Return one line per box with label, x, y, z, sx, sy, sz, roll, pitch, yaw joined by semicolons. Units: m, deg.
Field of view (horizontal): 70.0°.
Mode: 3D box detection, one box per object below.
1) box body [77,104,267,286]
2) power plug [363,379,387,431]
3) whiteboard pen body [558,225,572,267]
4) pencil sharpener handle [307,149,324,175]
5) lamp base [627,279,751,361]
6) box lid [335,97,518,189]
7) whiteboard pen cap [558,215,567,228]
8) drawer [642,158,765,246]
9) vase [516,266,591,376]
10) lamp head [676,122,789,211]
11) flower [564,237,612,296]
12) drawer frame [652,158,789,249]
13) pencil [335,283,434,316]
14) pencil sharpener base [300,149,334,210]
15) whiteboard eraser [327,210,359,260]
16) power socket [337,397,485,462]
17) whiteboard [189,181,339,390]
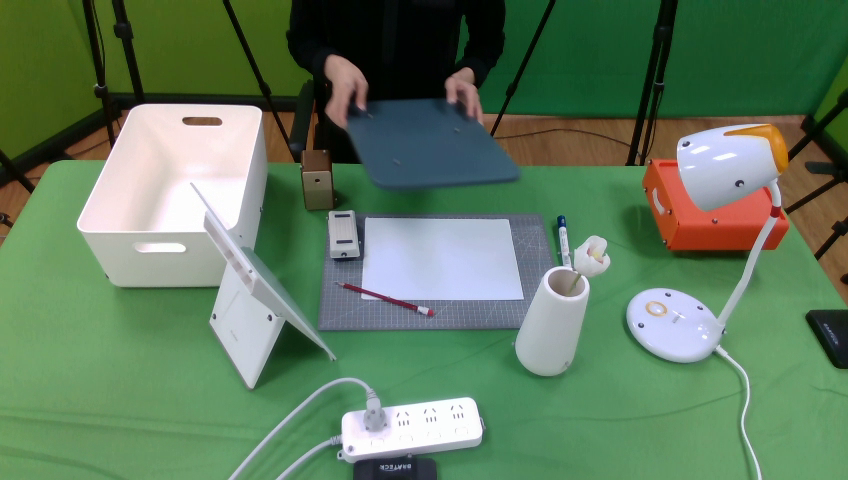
box body;-0.446;-0.088;1.150;0.254;0.161;0.361;-1;46;-5
power plug;-0.072;0.252;0.910;0.035;0.053;0.072;3;45;-1
whiteboard pen body;0.280;0.010;1.207;0.017;0.017;0.140;3;50;-1
pencil sharpener handle;-0.229;-0.170;1.267;0.036;0.068;0.030;4;44;-16
lamp base;0.459;0.100;1.027;0.178;0.181;0.160;27;51;17
box lid;-0.008;-0.190;1.116;0.264;0.015;0.369;-6;34;-16
whiteboard pen cap;0.285;-0.034;1.245;0.018;0.018;0.033;3;52;-1
drawer;0.565;-0.076;1.211;0.212;0.073;0.193;2;45;-2
vase;0.208;0.132;0.964;0.098;0.201;0.097;3;46;-3
lamp head;0.423;-0.104;0.819;0.122;0.113;0.112;-13;33;40
flower;0.206;0.088;0.893;0.038;0.363;0.044;-16;67;-9
drawer frame;0.571;-0.075;1.214;0.214;0.083;0.200;0;45;-1
pencil;-0.074;0.105;1.097;0.194;0.012;0.012;16;47;13
pencil sharpener base;-0.219;-0.125;1.242;0.061;0.107;0.076;-4;46;-7
whiteboard eraser;-0.158;-0.009;1.177;0.055;0.042;0.112;-5;47;-7
power socket;-0.018;0.285;0.915;0.227;0.033;0.071;-5;46;-8
whiteboard;-0.292;0.096;0.929;0.144;0.307;0.216;-37;57;-10
